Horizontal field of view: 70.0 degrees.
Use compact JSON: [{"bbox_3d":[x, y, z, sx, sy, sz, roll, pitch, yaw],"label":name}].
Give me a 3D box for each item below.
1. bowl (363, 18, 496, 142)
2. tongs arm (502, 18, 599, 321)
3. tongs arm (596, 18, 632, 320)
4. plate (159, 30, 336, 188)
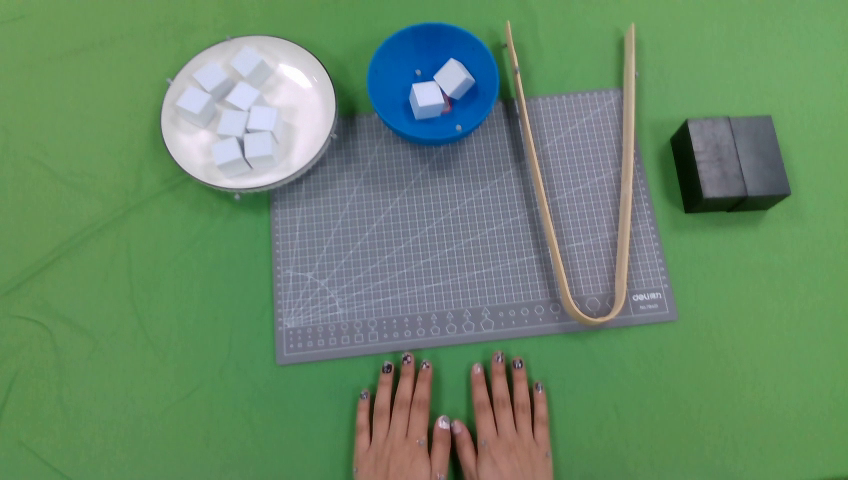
[{"bbox_3d":[0.006,-0.174,0.715,0.151,0.077,0.150,0,73,-1],"label":"bowl"},{"bbox_3d":[0.145,-0.093,0.715,0.051,0.026,0.382,-5,74,-6],"label":"tongs arm"},{"bbox_3d":[0.229,-0.094,0.719,0.028,0.028,0.385,10,74,-5],"label":"tongs arm"},{"bbox_3d":[-0.207,-0.155,0.730,0.208,0.039,0.206,0,73,1],"label":"plate"}]
